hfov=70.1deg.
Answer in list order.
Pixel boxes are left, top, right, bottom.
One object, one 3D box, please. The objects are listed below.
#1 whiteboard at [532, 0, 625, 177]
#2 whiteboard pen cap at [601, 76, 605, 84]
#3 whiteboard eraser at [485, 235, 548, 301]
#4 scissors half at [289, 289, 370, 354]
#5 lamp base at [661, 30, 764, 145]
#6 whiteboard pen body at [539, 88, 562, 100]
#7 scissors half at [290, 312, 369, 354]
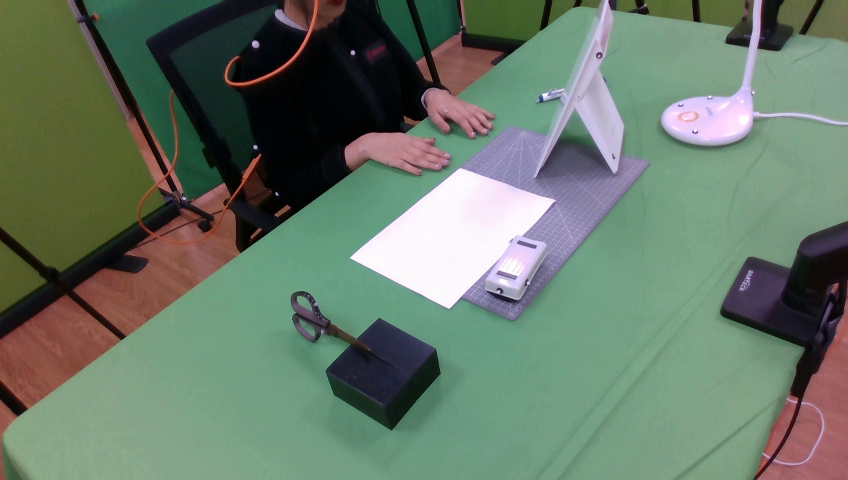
[{"bbox_3d":[0.320,-0.258,1.050,0.144,0.306,0.217,21,45,5],"label":"whiteboard"},{"bbox_3d":[0.372,-0.340,1.305,0.033,0.018,0.018,-17,41,-1],"label":"whiteboard pen cap"},{"bbox_3d":[0.137,0.042,0.887,0.055,0.042,0.113,15,46,27],"label":"whiteboard eraser"},{"bbox_3d":[-0.128,0.110,0.809,0.013,0.040,0.173,-17,35,-43],"label":"scissors half"},{"bbox_3d":[0.535,-0.287,1.096,0.179,0.181,0.159,-10,40,-4],"label":"lamp base"},{"bbox_3d":[0.315,-0.324,1.303,0.141,0.017,0.017,-15,41,-3],"label":"whiteboard pen body"},{"bbox_3d":[-0.129,0.129,0.816,0.013,0.040,0.173,-23,21,-40],"label":"scissors half"}]
